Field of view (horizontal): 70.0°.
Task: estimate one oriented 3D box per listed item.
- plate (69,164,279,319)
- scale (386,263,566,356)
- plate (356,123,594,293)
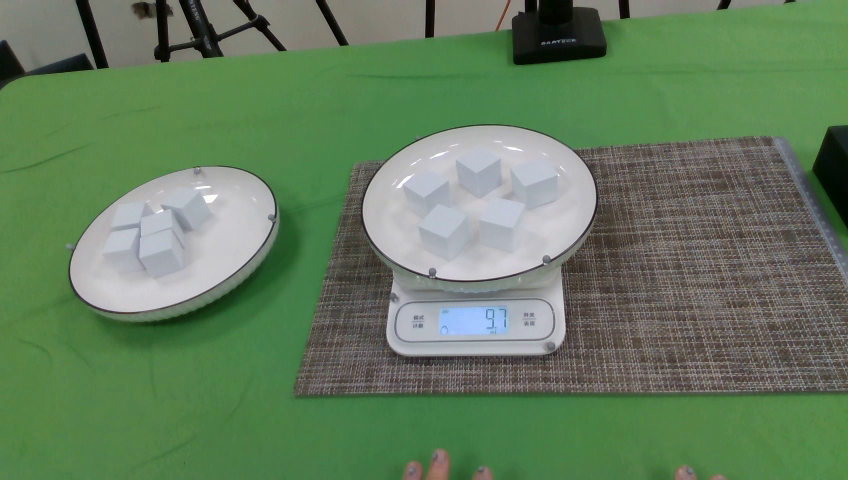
[{"bbox_3d":[-0.247,0.002,0.618,0.209,0.038,0.207,-5,45,5],"label":"plate"},{"bbox_3d":[0.048,0.014,0.548,0.148,0.032,0.199,-2,46,10],"label":"scale"},{"bbox_3d":[0.045,-0.029,0.544,0.207,0.039,0.205,-5,46,5],"label":"plate"}]
